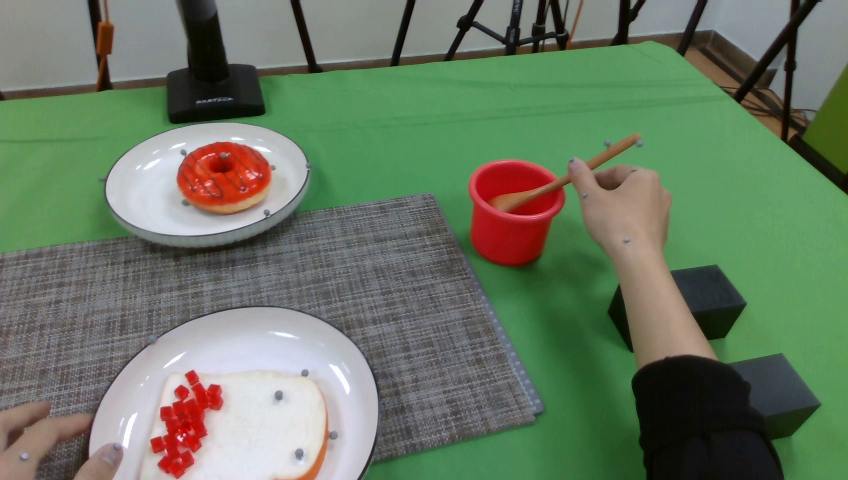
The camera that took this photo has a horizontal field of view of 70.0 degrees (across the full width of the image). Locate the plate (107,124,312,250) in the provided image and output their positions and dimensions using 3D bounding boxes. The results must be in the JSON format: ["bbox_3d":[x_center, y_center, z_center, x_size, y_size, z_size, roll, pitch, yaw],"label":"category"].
[{"bbox_3d":[-0.226,-0.057,0.658,0.208,0.039,0.205,3,42,-2],"label":"plate"}]

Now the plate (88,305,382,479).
[{"bbox_3d":[-0.136,0.139,0.459,0.209,0.038,0.207,3,44,-2],"label":"plate"}]

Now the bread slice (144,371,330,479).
[{"bbox_3d":[-0.137,0.143,0.459,0.132,0.019,0.104,-1,44,-4],"label":"bread slice"}]

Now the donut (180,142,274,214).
[{"bbox_3d":[-0.211,-0.067,0.653,0.099,0.048,0.098,4,44,-3],"label":"donut"}]

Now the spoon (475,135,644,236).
[{"bbox_3d":[0.129,-0.054,0.608,0.193,0.022,0.041,-26,34,24],"label":"spoon"}]
